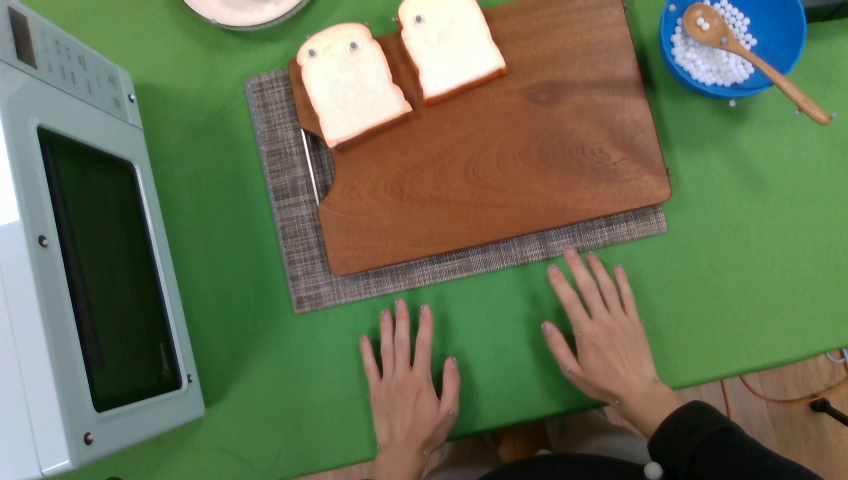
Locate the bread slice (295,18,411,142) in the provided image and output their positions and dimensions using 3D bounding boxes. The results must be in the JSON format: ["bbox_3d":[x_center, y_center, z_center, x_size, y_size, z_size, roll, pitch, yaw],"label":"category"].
[{"bbox_3d":[-0.092,-0.191,0.711,0.107,0.018,0.134,-27,84,2],"label":"bread slice"}]

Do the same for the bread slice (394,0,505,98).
[{"bbox_3d":[0.021,-0.243,0.705,0.105,0.019,0.131,-23,84,2],"label":"bread slice"}]

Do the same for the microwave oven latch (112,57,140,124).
[{"bbox_3d":[-0.372,-0.178,0.737,0.030,0.029,0.079,-15,86,4],"label":"microwave oven latch"}]

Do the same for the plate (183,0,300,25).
[{"bbox_3d":[-0.221,-0.365,0.754,0.207,0.039,0.207,0,86,5],"label":"plate"}]

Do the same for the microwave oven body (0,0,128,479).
[{"bbox_3d":[-0.478,0.024,0.637,0.326,0.261,0.440,-16,86,4],"label":"microwave oven body"}]

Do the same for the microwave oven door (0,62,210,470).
[{"bbox_3d":[-0.327,0.025,0.618,0.039,0.244,0.355,-16,85,4],"label":"microwave oven door"}]

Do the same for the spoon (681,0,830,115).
[{"bbox_3d":[0.347,-0.197,0.639,0.041,0.022,0.192,-40,66,6],"label":"spoon"}]

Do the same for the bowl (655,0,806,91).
[{"bbox_3d":[0.326,-0.230,0.674,0.151,0.077,0.151,0,86,5],"label":"bowl"}]
